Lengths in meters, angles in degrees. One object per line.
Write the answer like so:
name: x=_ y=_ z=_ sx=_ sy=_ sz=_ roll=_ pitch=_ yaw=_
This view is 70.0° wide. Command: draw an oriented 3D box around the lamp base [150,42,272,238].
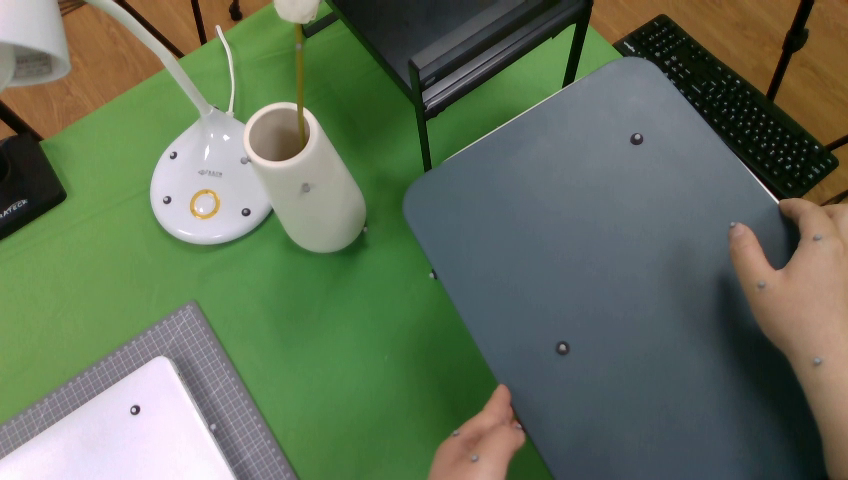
lamp base: x=-0.261 y=-0.116 z=0.674 sx=0.160 sy=0.181 sz=0.178 roll=-3 pitch=67 yaw=3

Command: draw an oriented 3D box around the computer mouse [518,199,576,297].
computer mouse: x=0.136 y=0.006 z=0.673 sx=0.063 sy=0.041 sz=0.116 roll=2 pitch=66 yaw=6

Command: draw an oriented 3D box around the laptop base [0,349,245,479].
laptop base: x=-0.358 y=0.301 z=0.612 sx=0.354 sy=0.023 sz=0.234 roll=-34 pitch=75 yaw=-9

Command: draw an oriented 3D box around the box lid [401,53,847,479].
box lid: x=0.163 y=0.032 z=0.484 sx=0.263 sy=0.015 sz=0.368 roll=-31 pitch=67 yaw=2

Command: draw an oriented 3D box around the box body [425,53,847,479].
box body: x=0.201 y=0.038 z=0.597 sx=0.254 sy=0.161 sz=0.361 roll=-32 pitch=71 yaw=-8

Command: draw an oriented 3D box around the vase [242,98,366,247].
vase: x=-0.123 y=-0.065 z=0.636 sx=0.098 sy=0.201 sz=0.097 roll=-2 pitch=68 yaw=5

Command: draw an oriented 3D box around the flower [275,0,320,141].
flower: x=-0.112 y=-0.106 z=0.563 sx=0.038 sy=0.364 sz=0.043 roll=-20 pitch=59 yaw=-21

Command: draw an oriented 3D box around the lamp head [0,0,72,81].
lamp head: x=-0.286 y=-0.168 z=0.375 sx=0.112 sy=0.112 sz=0.122 roll=-6 pitch=87 yaw=2

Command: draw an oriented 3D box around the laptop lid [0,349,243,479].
laptop lid: x=-0.357 y=0.299 z=0.600 sx=0.357 sy=0.013 sz=0.240 roll=-33 pitch=73 yaw=-8
